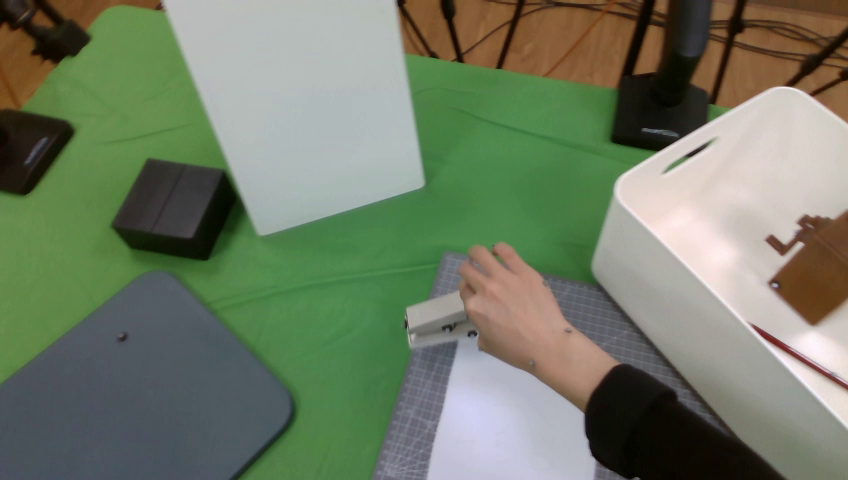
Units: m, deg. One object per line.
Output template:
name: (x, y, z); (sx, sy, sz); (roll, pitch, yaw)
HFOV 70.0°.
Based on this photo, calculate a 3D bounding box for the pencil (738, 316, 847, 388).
pencil: (0.409, 0.131, 0.631); (0.192, 0.012, 0.012); (35, 66, 23)

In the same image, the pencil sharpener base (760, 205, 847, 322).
pencil sharpener base: (0.419, 0.025, 0.638); (0.061, 0.108, 0.076); (-30, 62, -17)

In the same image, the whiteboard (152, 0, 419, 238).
whiteboard: (-0.148, -0.190, 0.708); (0.217, 0.308, 0.142); (-18, 41, -8)

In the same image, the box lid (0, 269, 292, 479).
box lid: (-0.345, 0.216, 0.607); (0.261, 0.015, 0.371); (37, 66, 21)

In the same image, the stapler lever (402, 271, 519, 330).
stapler lever: (0.034, 0.059, 0.590); (0.118, 0.040, 0.026); (-14, 55, 5)

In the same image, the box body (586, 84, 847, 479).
box body: (0.369, 0.053, 0.596); (0.254, 0.162, 0.360); (-30, 63, -16)

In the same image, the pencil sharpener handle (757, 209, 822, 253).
pencil sharpener handle: (0.387, -0.015, 0.648); (0.036, 0.068, 0.030); (-22, 59, -30)

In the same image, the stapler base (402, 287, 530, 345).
stapler base: (0.040, 0.072, 0.612); (0.130, 0.025, 0.041); (-13, 56, 5)
